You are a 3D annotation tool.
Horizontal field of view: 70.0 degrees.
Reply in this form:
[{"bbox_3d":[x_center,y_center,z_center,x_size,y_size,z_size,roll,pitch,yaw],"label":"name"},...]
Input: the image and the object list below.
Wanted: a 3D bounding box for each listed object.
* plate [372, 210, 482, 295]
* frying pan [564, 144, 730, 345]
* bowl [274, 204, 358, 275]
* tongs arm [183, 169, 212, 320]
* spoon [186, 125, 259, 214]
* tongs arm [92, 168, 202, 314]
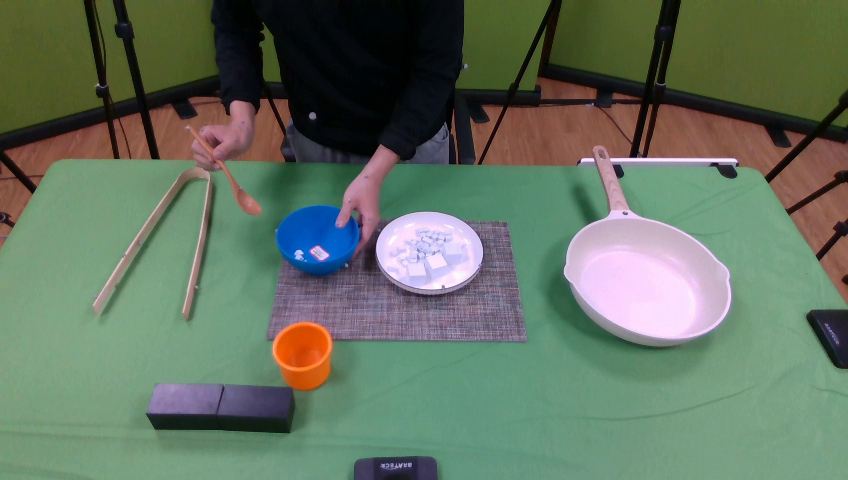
[{"bbox_3d":[0.005,0.028,1.155,0.208,0.039,0.206,3,46,-3],"label":"plate"},{"bbox_3d":[0.396,-0.008,1.179,0.307,0.103,0.484,0,55,-5],"label":"frying pan"},{"bbox_3d":[-0.197,0.012,1.126,0.151,0.077,0.150,2,46,-2],"label":"bowl"},{"bbox_3d":[-0.437,-0.006,1.166,0.028,0.028,0.385,-5,47,-6],"label":"tongs arm"},{"bbox_3d":[-0.361,-0.125,1.089,0.021,0.194,0.041,-23,20,22],"label":"spoon"},{"bbox_3d":[-0.518,-0.013,1.160,0.051,0.026,0.382,7,45,1],"label":"tongs arm"}]
